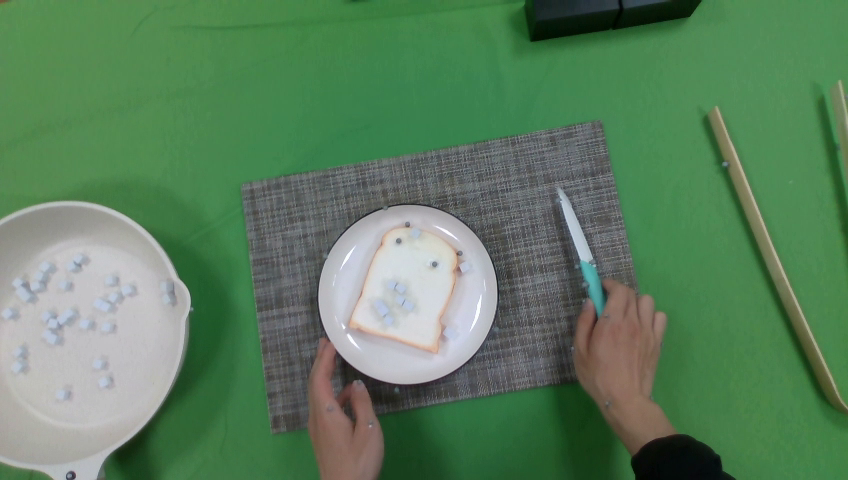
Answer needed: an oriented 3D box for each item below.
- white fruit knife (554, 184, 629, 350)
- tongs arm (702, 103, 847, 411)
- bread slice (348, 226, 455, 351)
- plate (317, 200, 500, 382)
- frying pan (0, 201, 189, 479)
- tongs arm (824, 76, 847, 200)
[{"bbox_3d":[0.186,0.027,0.693,0.027,0.016,0.206,-4,69,-37],"label":"white fruit knife"},{"bbox_3d":[0.407,0.017,0.702,0.028,0.028,0.386,-20,81,-3],"label":"tongs arm"},{"bbox_3d":[-0.022,0.051,0.704,0.107,0.018,0.134,13,84,3],"label":"bread slice"},{"bbox_3d":[-0.018,0.058,0.701,0.207,0.039,0.207,0,81,2],"label":"plate"},{"bbox_3d":[-0.381,0.200,0.662,0.307,0.103,0.484,-14,73,1],"label":"frying pan"},{"bbox_3d":[0.485,0.000,0.697,0.051,0.026,0.383,-7,82,2],"label":"tongs arm"}]
